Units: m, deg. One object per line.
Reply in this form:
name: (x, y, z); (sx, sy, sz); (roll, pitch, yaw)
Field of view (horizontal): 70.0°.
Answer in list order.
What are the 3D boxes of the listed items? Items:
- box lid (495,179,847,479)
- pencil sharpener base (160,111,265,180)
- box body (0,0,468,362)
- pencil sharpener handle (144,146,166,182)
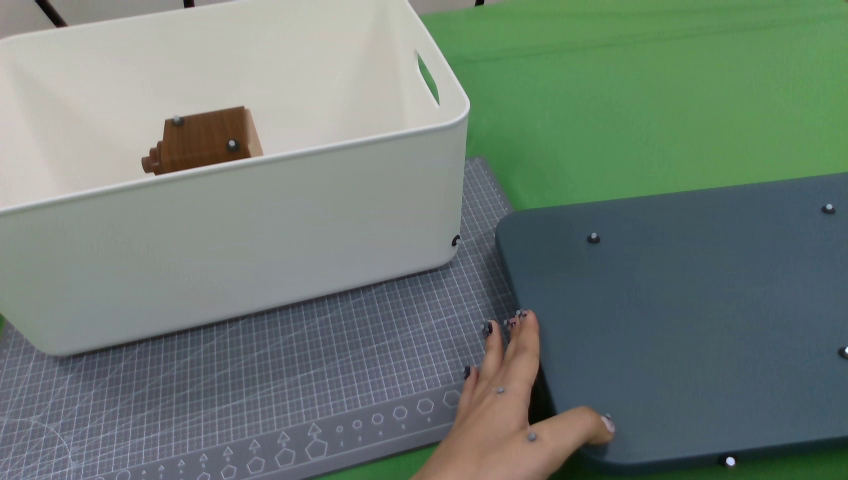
box lid: (0.251, 0.041, 0.451); (0.372, 0.015, 0.260); (-7, 36, -3)
pencil sharpener base: (-0.177, -0.048, 0.531); (0.077, 0.108, 0.060); (-12, 46, -8)
box body: (-0.165, -0.068, 0.521); (0.365, 0.162, 0.251); (-13, 46, -10)
pencil sharpener handle: (-0.227, -0.047, 0.516); (0.031, 0.068, 0.035); (-12, 49, -8)
